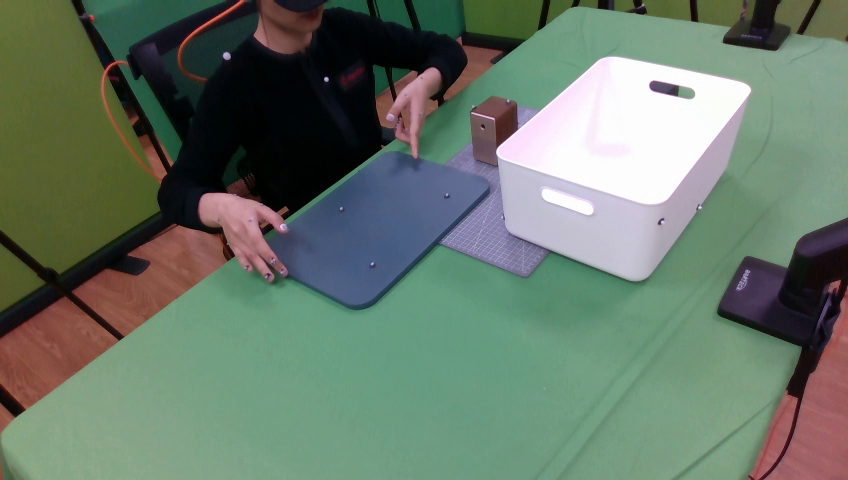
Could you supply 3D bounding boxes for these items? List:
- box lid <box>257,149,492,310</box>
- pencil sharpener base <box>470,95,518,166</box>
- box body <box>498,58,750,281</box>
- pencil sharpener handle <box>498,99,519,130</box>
[{"bbox_3d":[-0.079,-0.039,1.051,0.261,0.015,0.372,22,49,32],"label":"box lid"},{"bbox_3d":[0.134,-0.205,1.128,0.061,0.107,0.077,23,50,33],"label":"pencil sharpener base"},{"bbox_3d":[0.315,-0.124,0.958,0.252,0.161,0.365,23,50,32],"label":"box body"},{"bbox_3d":[0.165,-0.243,1.148,0.035,0.068,0.031,21,49,35],"label":"pencil sharpener handle"}]
